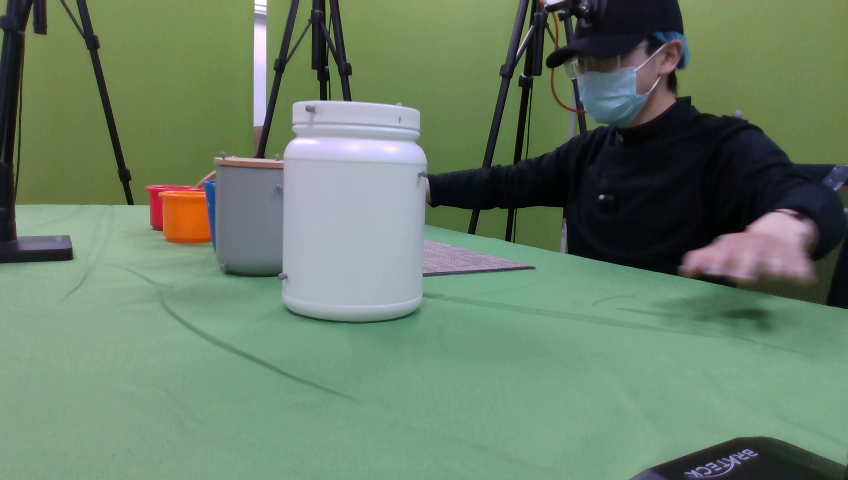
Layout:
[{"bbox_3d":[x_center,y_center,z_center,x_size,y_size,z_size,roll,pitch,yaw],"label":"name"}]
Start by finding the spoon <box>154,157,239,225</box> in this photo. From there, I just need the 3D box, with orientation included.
[{"bbox_3d":[-0.411,-0.092,1.105,0.041,0.022,0.194,13,56,51],"label":"spoon"}]

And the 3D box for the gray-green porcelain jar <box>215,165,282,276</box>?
[{"bbox_3d":[-0.195,-0.024,0.726,0.106,0.126,0.106,3,7,0],"label":"gray-green porcelain jar"}]

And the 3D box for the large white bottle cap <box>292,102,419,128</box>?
[{"bbox_3d":[-0.061,-0.111,0.547,0.115,0.018,0.115,2,8,0],"label":"large white bottle cap"}]

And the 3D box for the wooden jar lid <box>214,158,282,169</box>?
[{"bbox_3d":[-0.193,-0.085,0.719,0.108,0.020,0.108,2,9,0],"label":"wooden jar lid"}]

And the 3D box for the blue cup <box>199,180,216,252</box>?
[{"bbox_3d":[-0.267,-0.032,0.860,0.093,0.100,0.092,2,9,0],"label":"blue cup"}]

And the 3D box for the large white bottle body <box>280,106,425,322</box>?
[{"bbox_3d":[-0.065,-0.028,0.559,0.131,0.184,0.130,2,7,0],"label":"large white bottle body"}]

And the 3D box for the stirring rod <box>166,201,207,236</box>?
[{"bbox_3d":[-0.341,-0.066,0.967,0.176,0.006,0.014,-42,23,-9],"label":"stirring rod"}]
